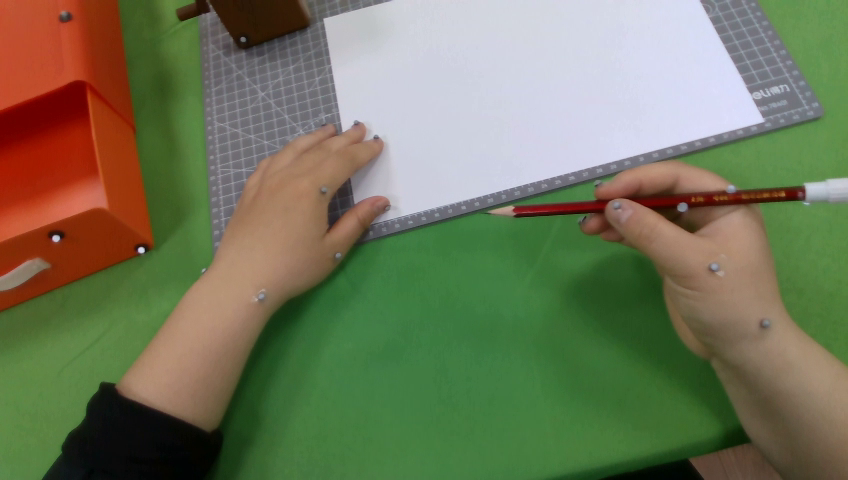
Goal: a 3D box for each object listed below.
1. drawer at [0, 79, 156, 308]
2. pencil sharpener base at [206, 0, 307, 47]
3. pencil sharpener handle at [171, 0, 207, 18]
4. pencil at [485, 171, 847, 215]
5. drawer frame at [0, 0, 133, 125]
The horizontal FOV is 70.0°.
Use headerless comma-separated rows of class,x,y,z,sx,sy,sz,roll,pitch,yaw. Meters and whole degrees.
drawer,-0.332,-0.057,0.476,0.194,0.074,0.210,-23,65,1
pencil sharpener base,-0.152,-0.223,0.497,0.077,0.108,0.061,-20,64,2
pencil sharpener handle,-0.202,-0.209,0.486,0.030,0.068,0.035,-20,61,2
pencil,0.127,-0.023,0.326,0.193,0.012,0.012,-4,66,19
drawer frame,-0.373,-0.156,0.524,0.202,0.083,0.211,-22,64,1
